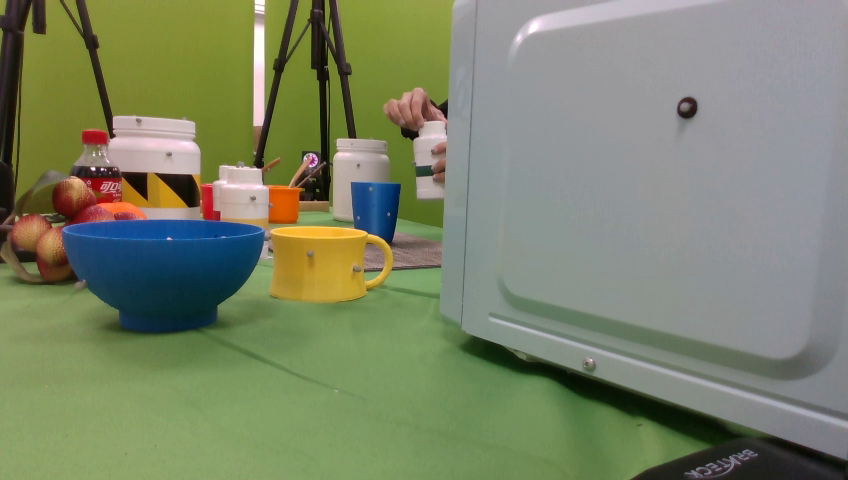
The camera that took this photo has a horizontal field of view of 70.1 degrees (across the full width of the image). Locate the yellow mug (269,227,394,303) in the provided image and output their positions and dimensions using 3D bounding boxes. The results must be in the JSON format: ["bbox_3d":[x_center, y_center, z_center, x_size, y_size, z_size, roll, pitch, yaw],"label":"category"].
[{"bbox_3d":[-0.094,0.023,0.629,0.131,0.064,0.099,0,7,-22],"label":"yellow mug"}]

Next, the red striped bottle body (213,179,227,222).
[{"bbox_3d":[-0.284,-0.048,0.909,0.063,0.119,0.063,3,11,0],"label":"red striped bottle body"}]

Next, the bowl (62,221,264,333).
[{"bbox_3d":[-0.209,0.029,0.496,0.151,0.077,0.151,2,7,0],"label":"bowl"}]

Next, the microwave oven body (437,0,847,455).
[{"bbox_3d":[0.279,-0.040,0.465,0.444,0.260,0.324,-3,9,-41],"label":"microwave oven body"}]

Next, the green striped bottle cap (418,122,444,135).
[{"bbox_3d":[0.013,-0.174,0.954,0.044,0.020,0.044,-8,10,2],"label":"green striped bottle cap"}]

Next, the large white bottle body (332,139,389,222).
[{"bbox_3d":[-0.145,-0.137,1.387,0.131,0.184,0.130,2,7,0],"label":"large white bottle body"}]

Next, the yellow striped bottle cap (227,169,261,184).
[{"bbox_3d":[-0.243,-0.086,0.818,0.044,0.018,0.044,3,6,0],"label":"yellow striped bottle cap"}]

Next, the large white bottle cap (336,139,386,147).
[{"bbox_3d":[-0.143,-0.219,1.375,0.115,0.018,0.115,2,8,0],"label":"large white bottle cap"}]

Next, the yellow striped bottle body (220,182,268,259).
[{"bbox_3d":[-0.246,-0.036,0.825,0.063,0.120,0.063,3,8,0],"label":"yellow striped bottle body"}]

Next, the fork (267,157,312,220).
[{"bbox_3d":[-0.289,-0.116,1.321,0.028,0.019,0.207,6,51,19],"label":"fork"}]

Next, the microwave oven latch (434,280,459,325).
[{"bbox_3d":[0.044,0.045,0.470,0.079,0.029,0.030,-2,8,-39],"label":"microwave oven latch"}]

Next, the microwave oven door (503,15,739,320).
[{"bbox_3d":[0.218,-0.065,0.600,0.358,0.243,0.039,-4,10,-41],"label":"microwave oven door"}]

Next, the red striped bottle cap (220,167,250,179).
[{"bbox_3d":[-0.281,-0.100,0.901,0.044,0.017,0.044,-1,5,0],"label":"red striped bottle cap"}]

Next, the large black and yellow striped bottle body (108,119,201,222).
[{"bbox_3d":[-0.412,-0.088,0.930,0.131,0.184,0.130,3,7,0],"label":"large black and yellow striped bottle body"}]

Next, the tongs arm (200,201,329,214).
[{"bbox_3d":[-0.378,-0.079,1.440,0.387,0.026,0.050,-4,8,-44],"label":"tongs arm"}]

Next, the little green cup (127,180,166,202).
[{"bbox_3d":[-0.485,-0.086,1.061,0.061,0.038,0.061,1,7,0],"label":"little green cup"}]

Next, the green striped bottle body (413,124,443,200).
[{"bbox_3d":[0.016,-0.124,0.959,0.063,0.119,0.063,-3,5,1],"label":"green striped bottle body"}]

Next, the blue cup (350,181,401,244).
[{"bbox_3d":[-0.082,-0.046,1.010,0.093,0.100,0.092,2,6,0],"label":"blue cup"}]

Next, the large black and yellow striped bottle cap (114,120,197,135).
[{"bbox_3d":[-0.407,-0.171,0.920,0.115,0.019,0.115,2,9,0],"label":"large black and yellow striped bottle cap"}]

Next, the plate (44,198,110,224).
[{"bbox_3d":[-0.617,-0.056,1.179,0.209,0.038,0.209,3,7,0],"label":"plate"}]

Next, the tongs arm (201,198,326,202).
[{"bbox_3d":[-0.433,-0.090,1.507,0.390,0.028,0.028,-1,2,-30],"label":"tongs arm"}]

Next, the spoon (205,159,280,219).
[{"bbox_3d":[-0.365,-0.103,1.214,0.193,0.021,0.041,-42,4,6],"label":"spoon"}]

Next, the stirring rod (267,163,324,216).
[{"bbox_3d":[-0.278,-0.105,1.294,0.176,0.006,0.014,-47,25,-18],"label":"stirring rod"}]
